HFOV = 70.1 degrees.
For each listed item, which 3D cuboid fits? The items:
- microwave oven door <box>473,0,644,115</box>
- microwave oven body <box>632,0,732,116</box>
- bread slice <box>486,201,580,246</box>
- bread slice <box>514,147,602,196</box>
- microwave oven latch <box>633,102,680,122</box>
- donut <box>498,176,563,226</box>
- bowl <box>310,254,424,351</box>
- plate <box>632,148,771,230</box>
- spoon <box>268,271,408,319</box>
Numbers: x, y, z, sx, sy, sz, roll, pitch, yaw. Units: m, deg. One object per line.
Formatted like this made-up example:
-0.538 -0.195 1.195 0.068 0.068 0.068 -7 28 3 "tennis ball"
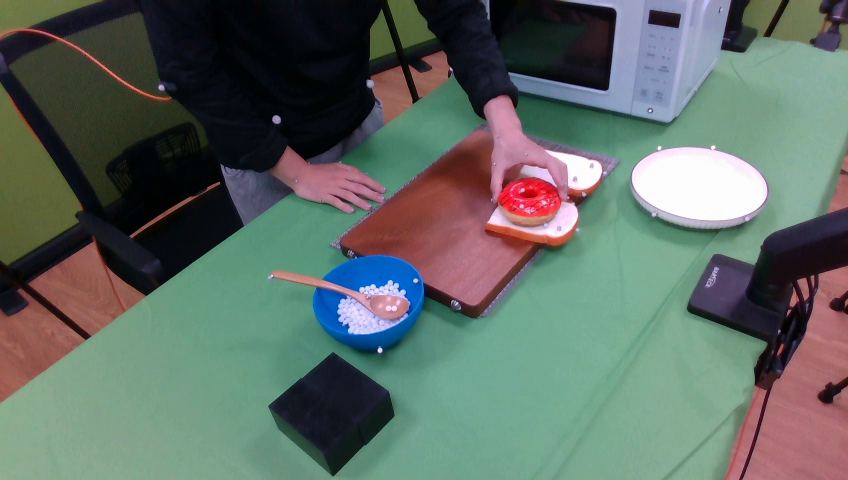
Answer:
0.257 -0.396 1.199 0.353 0.245 0.039 21 48 29 "microwave oven door"
0.377 -0.463 1.267 0.438 0.261 0.327 21 49 30 "microwave oven body"
0.177 -0.037 0.947 0.131 0.019 0.105 15 46 25 "bread slice"
0.233 -0.115 1.027 0.133 0.018 0.107 13 45 20 "bread slice"
0.444 -0.249 1.158 0.078 0.029 0.030 22 49 30 "microwave oven latch"
0.164 -0.059 0.928 0.099 0.048 0.098 -5 40 5 "donut"
-0.071 0.098 0.821 0.151 0.077 0.150 -4 40 4 "bowl"
0.447 -0.081 0.988 0.207 0.039 0.206 -4 40 4 "plate"
-0.116 0.069 0.813 0.194 0.021 0.041 18 40 1 "spoon"
